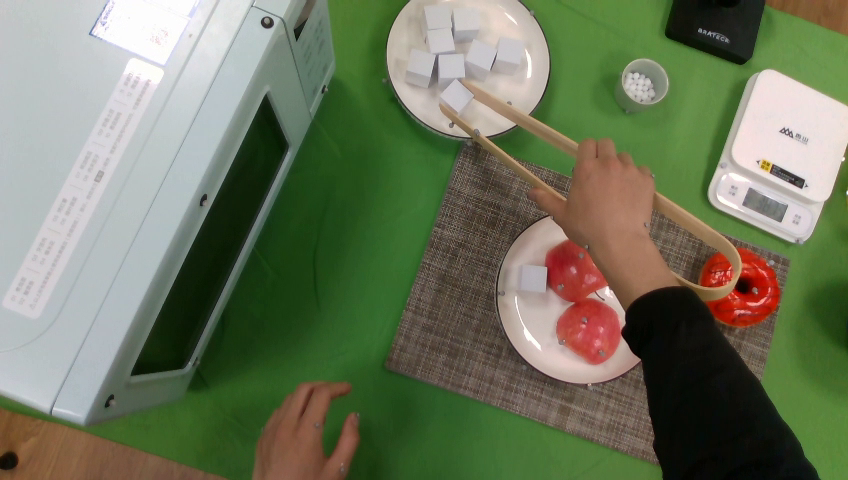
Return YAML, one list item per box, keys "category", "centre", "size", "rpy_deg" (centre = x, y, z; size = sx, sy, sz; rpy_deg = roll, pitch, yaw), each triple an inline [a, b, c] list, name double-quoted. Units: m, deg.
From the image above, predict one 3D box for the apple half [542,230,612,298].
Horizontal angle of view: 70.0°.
- category: "apple half"
  centre: [0.185, 0.025, 0.723]
  size: [0.081, 0.053, 0.074]
  rpy_deg: [-24, 82, -8]

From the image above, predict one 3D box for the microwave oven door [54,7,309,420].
- category: "microwave oven door"
  centre: [-0.210, -0.014, 0.587]
  size: [0.039, 0.244, 0.355]
  rpy_deg: [22, 80, -2]

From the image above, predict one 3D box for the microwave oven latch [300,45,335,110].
- category: "microwave oven latch"
  centre: [-0.133, -0.198, 0.723]
  size: [0.030, 0.029, 0.079]
  rpy_deg: [25, 81, -2]

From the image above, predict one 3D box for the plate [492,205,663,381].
- category: "plate"
  centre: [0.182, 0.063, 0.733]
  size: [0.209, 0.038, 0.208]
  rpy_deg: [1, 82, -5]

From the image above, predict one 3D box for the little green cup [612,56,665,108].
- category: "little green cup"
  centre: [0.274, -0.201, 0.783]
  size: [0.061, 0.039, 0.061]
  rpy_deg: [1, 81, -5]

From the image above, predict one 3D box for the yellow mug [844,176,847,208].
- category: "yellow mug"
  centre: [0.609, -0.077, 0.783]
  size: [0.100, 0.064, 0.130]
  rpy_deg: [-12, 82, -6]

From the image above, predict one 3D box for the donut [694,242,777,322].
- category: "donut"
  centre: [0.384, 0.052, 0.751]
  size: [0.099, 0.048, 0.098]
  rpy_deg: [1, 81, -3]

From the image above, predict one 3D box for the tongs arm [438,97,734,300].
- category: "tongs arm"
  centre: [0.152, -0.063, 0.650]
  size: [0.051, 0.027, 0.381]
  rpy_deg: [-39, 60, -9]

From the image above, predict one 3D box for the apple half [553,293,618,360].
- category: "apple half"
  centre: [0.198, 0.101, 0.722]
  size: [0.081, 0.033, 0.081]
  rpy_deg: [0, 83, -1]

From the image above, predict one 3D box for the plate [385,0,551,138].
- category: "plate"
  centre: [0.055, -0.226, 0.765]
  size: [0.208, 0.039, 0.207]
  rpy_deg: [1, 82, -5]

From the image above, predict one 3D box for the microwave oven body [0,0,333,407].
- category: "microwave oven body"
  centre: [-0.328, -0.109, 0.594]
  size: [0.326, 0.260, 0.440]
  rpy_deg: [23, 81, -2]

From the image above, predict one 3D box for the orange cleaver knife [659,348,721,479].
- category: "orange cleaver knife"
  centre: [0.324, 0.237, 0.732]
  size: [0.077, 0.012, 0.210]
  rpy_deg: [3, 81, -10]

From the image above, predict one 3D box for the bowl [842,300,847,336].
- category: "bowl"
  centre: [0.582, 0.100, 0.750]
  size: [0.151, 0.077, 0.151]
  rpy_deg: [1, 82, -5]

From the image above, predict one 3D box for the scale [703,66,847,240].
- category: "scale"
  centre: [0.464, -0.115, 0.792]
  size: [0.149, 0.031, 0.200]
  rpy_deg: [24, 81, -1]

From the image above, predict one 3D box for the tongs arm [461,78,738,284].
- category: "tongs arm"
  centre: [0.171, -0.080, 0.655]
  size: [0.028, 0.028, 0.384]
  rpy_deg: [-40, 60, -14]
